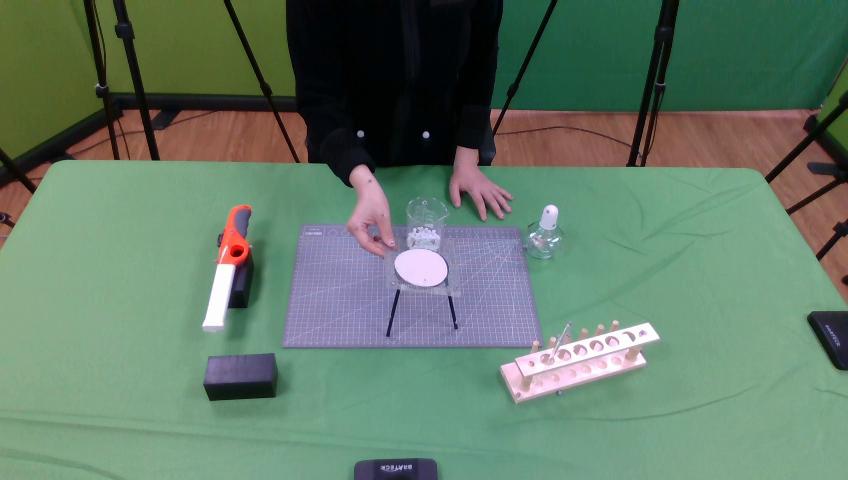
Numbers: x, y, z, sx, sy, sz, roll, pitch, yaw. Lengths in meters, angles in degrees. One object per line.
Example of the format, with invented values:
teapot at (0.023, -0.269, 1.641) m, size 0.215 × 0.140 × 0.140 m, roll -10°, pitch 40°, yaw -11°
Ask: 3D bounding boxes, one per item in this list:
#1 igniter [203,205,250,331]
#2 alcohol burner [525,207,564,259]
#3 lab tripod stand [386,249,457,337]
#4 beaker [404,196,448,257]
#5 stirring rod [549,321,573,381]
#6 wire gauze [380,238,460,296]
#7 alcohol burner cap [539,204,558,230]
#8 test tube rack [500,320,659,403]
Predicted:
igniter at (-0.345, 0.039, 1.065) m, size 0.057 × 0.025 × 0.274 m, roll 2°, pitch 49°, yaw -6°
alcohol burner at (0.236, -0.020, 1.174) m, size 0.078 × 0.120 × 0.077 m, roll 1°, pitch 48°, yaw -1°
lab tripod stand at (-0.010, 0.087, 1.032) m, size 0.148 × 0.132 × 0.147 m, roll 1°, pitch 45°, yaw -1°
beaker at (0.002, -0.024, 1.164) m, size 0.084 × 0.101 × 0.073 m, roll 6°, pitch 46°, yaw 0°
stirring rod at (0.202, 0.167, 0.901) m, size 0.006 × 0.177 × 0.014 m, roll -18°, pitch 55°, yaw -11°
wire gauze at (-0.007, 0.040, 0.980) m, size 0.125 × 0.011 × 0.120 m, roll 4°, pitch 42°, yaw -10°
alcohol burner cap at (0.239, -0.045, 1.148) m, size 0.034 × 0.048 × 0.033 m, roll 2°, pitch 42°, yaw -1°
test tube rack at (0.252, 0.187, 0.994) m, size 0.243 × 0.085 × 0.066 m, roll -12°, pitch 48°, yaw -15°
